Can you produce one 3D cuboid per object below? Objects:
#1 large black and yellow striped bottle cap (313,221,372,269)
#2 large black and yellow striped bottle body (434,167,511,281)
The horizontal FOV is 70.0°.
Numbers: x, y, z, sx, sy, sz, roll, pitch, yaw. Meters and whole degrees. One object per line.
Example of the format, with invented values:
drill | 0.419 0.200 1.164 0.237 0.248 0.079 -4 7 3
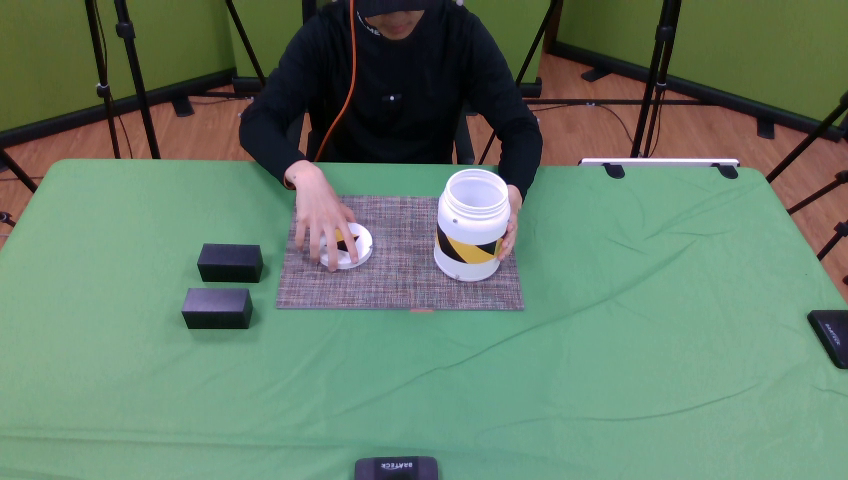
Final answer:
large black and yellow striped bottle cap | -0.159 0.008 1.175 0.115 0.019 0.114 2 45 -2
large black and yellow striped bottle body | 0.087 -0.029 1.113 0.131 0.185 0.130 2 46 -2
